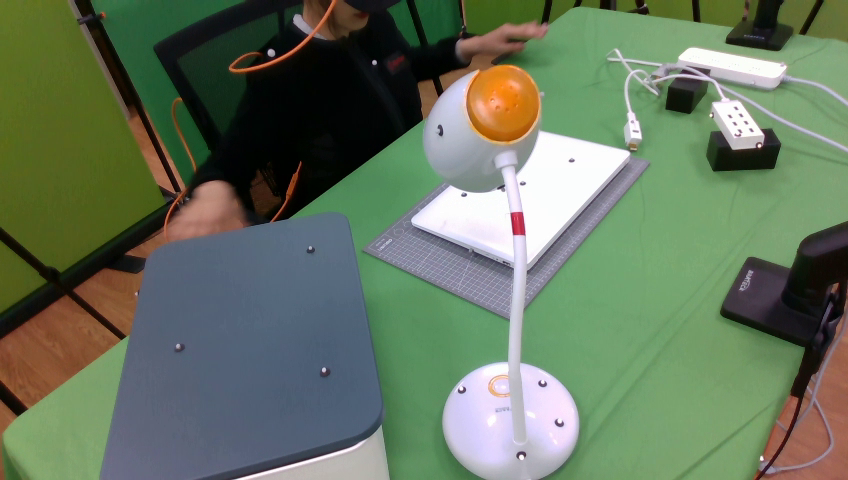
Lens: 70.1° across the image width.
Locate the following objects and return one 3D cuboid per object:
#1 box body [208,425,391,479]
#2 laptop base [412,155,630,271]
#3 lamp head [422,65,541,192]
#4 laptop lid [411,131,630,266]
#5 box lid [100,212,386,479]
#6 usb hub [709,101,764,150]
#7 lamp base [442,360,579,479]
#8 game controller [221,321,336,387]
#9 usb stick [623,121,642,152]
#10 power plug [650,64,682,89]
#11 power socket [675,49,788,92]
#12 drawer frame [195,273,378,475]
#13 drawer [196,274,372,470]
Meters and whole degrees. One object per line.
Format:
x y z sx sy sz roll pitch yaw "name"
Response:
-0.190 0.161 0.723 0.255 0.161 0.361 -13 40 -5 "box body"
0.176 -0.084 1.056 0.233 0.023 0.355 20 48 36 "laptop base"
0.060 -0.106 0.560 0.113 0.112 0.122 -16 0 -8 "lamp head"
0.172 -0.094 1.050 0.239 0.013 0.358 23 49 36 "laptop lid"
-0.195 0.093 0.680 0.264 0.015 0.368 -12 39 -6 "box lid"
0.534 -0.199 1.040 0.049 0.025 0.124 -5 39 8 "usb hub"
0.094 0.158 0.657 0.161 0.181 0.178 -13 42 -5 "lamp base"
-0.196 0.145 0.812 0.155 0.051 0.096 -18 11 -10 "game controller"
0.389 -0.192 1.128 0.021 0.027 0.059 9 61 -10 "usb stick"
0.498 -0.341 1.263 0.035 0.052 0.072 20 10 -7 "power plug"
0.647 -0.363 1.284 0.225 0.033 0.072 26 53 35 "power socket"
-0.180 0.159 0.772 0.202 0.083 0.212 -17 42 -8 "drawer frame"
-0.184 0.159 0.773 0.195 0.073 0.210 -17 41 -7 "drawer"
